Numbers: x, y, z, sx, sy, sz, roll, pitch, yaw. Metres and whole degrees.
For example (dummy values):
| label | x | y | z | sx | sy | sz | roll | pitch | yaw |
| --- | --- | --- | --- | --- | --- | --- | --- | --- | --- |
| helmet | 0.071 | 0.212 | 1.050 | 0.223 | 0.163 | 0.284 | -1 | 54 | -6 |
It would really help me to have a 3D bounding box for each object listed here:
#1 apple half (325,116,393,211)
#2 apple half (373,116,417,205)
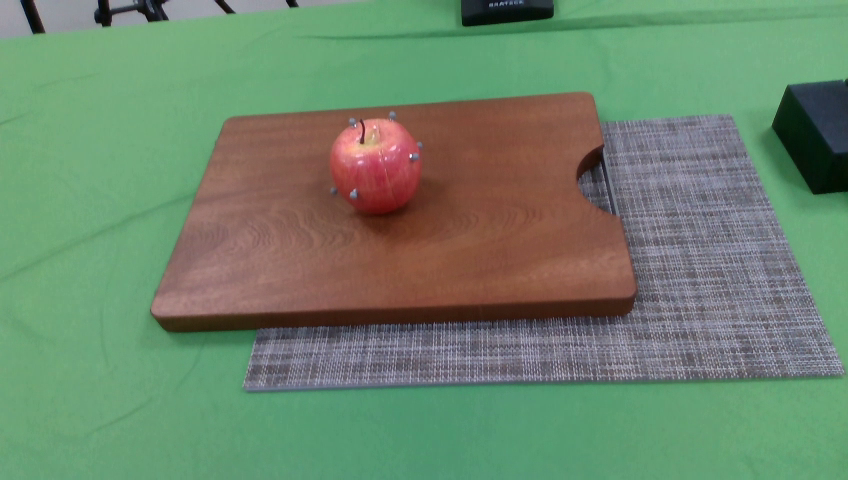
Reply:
| label | x | y | z | sx | sy | sz | roll | pitch | yaw |
| --- | --- | --- | --- | --- | --- | --- | --- | --- | --- |
| apple half | -0.060 | -0.064 | 0.540 | 0.053 | 0.075 | 0.080 | -13 | 53 | 3 |
| apple half | -0.022 | -0.072 | 0.540 | 0.033 | 0.082 | 0.080 | -13 | 49 | 3 |
